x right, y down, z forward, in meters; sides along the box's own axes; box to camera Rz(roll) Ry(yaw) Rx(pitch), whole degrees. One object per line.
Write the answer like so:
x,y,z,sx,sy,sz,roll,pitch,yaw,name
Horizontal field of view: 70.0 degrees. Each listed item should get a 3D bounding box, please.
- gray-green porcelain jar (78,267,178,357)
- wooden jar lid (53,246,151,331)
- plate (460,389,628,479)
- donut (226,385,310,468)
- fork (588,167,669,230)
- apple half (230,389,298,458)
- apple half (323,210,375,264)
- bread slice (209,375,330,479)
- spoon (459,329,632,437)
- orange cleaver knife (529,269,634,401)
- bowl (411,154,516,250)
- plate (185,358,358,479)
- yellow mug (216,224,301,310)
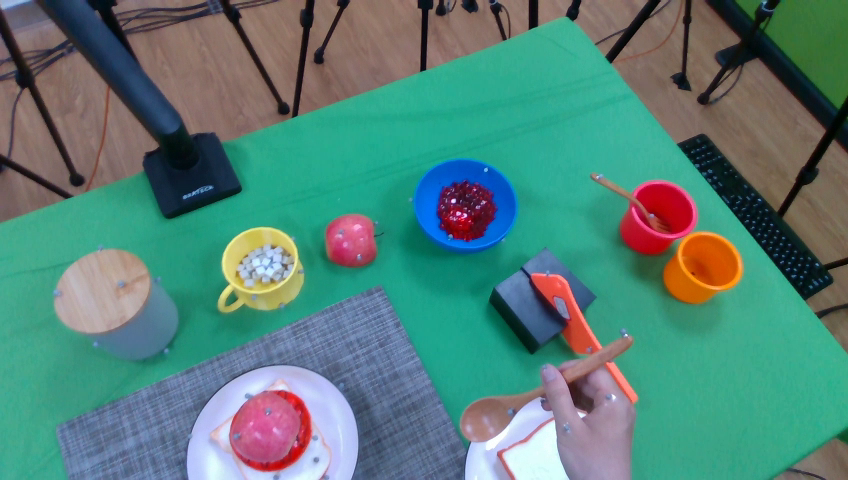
-0.381,0.087,0.772,0.106,0.127,0.105,2,63,-3,gray-green porcelain jar
-0.378,0.058,0.716,0.108,0.021,0.107,1,62,-2,wooden jar lid
0.147,0.293,0.756,0.209,0.038,0.207,2,64,-3,plate
-0.187,0.224,0.732,0.099,0.048,0.098,2,64,-3,donut
0.299,-0.058,0.878,0.209,0.018,0.028,28,55,-38,fork
-0.186,0.211,0.699,0.081,0.033,0.080,-1,68,2,apple half
-0.111,-0.010,0.879,0.075,0.054,0.080,-4,65,-3,apple half
-0.182,0.249,0.753,0.107,0.018,0.133,-41,72,-20,bread slice
0.113,0.137,0.576,0.194,0.022,0.041,-35,84,25,spoon
0.210,0.126,0.818,0.012,0.077,0.211,-33,92,-25,orange cleaver knife
0.054,-0.043,0.892,0.151,0.077,0.150,2,64,-3,bowl
-0.185,0.252,0.750,0.208,0.039,0.206,2,64,-3,plate
-0.235,0.046,0.836,0.099,0.064,0.130,37,68,14,yellow mug
